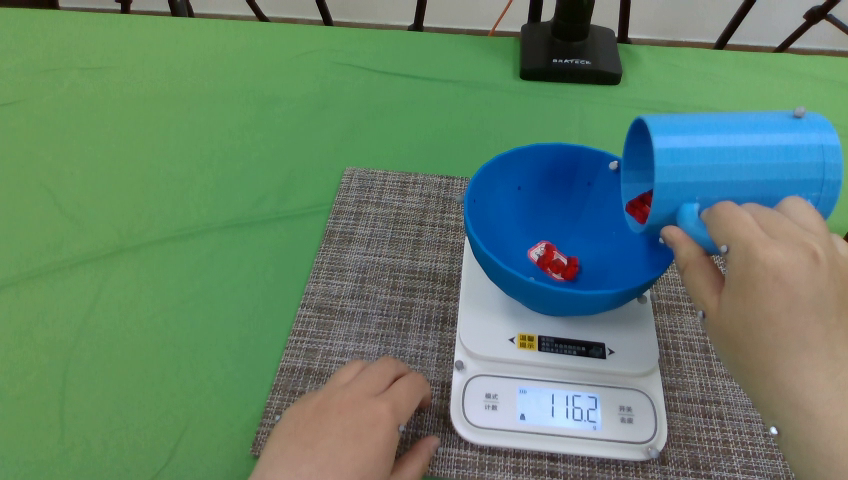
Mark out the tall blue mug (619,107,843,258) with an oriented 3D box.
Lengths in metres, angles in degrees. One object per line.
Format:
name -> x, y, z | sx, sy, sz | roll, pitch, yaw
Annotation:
tall blue mug -> 0.188, -0.040, 0.372 | 0.108, 0.078, 0.106 | -1, 16, 3

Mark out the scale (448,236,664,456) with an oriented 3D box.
scale -> 0.100, 0.060, 0.467 | 0.148, 0.032, 0.199 | 5, 48, 4

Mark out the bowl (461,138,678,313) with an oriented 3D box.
bowl -> 0.099, 0.002, 0.448 | 0.151, 0.077, 0.150 | 1, 48, -1
